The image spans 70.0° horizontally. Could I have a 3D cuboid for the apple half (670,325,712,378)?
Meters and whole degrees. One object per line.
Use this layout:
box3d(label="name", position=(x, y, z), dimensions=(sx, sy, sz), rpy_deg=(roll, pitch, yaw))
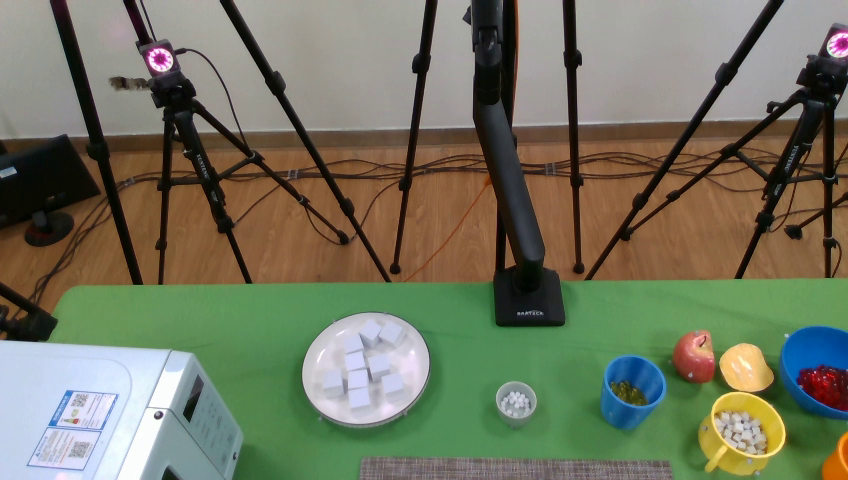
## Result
box3d(label="apple half", position=(0.416, 0.177, 0.956), dimensions=(0.053, 0.075, 0.080), rpy_deg=(1, 52, 10))

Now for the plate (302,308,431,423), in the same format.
box3d(label="plate", position=(-0.092, 0.204, 0.985), dimensions=(0.207, 0.039, 0.205), rpy_deg=(-2, 48, 2))

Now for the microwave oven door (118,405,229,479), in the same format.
box3d(label="microwave oven door", position=(-0.316, 0.396, 0.667), dimensions=(0.039, 0.246, 0.352), rpy_deg=(2, 49, 5))

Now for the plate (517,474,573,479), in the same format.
box3d(label="plate", position=(0.165, 0.412, 0.782), dimensions=(0.209, 0.038, 0.207), rpy_deg=(-2, 49, 2))

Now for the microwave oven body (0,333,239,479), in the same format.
box3d(label="microwave oven body", position=(-0.457, 0.363, 0.711), dimensions=(0.326, 0.262, 0.437), rpy_deg=(2, 50, 5))

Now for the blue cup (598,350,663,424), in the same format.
box3d(label="blue cup", position=(0.299, 0.226, 0.901), dimensions=(0.092, 0.101, 0.091), rpy_deg=(-1, 51, 2))

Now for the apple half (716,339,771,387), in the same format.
box3d(label="apple half", position=(0.499, 0.199, 0.958), dimensions=(0.081, 0.033, 0.080), rpy_deg=(-5, 62, 9))

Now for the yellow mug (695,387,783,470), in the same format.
box3d(label="yellow mug", position=(0.440, 0.279, 0.868), dimensions=(0.131, 0.064, 0.099), rpy_deg=(-34, 55, -22))

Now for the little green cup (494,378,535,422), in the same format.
box3d(label="little green cup", position=(0.139, 0.248, 0.933), dimensions=(0.061, 0.039, 0.061), rpy_deg=(-2, 48, 2))

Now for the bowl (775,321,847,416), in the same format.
box3d(label="bowl", position=(0.603, 0.206, 0.916), dimensions=(0.151, 0.077, 0.150), rpy_deg=(-2, 49, 3))

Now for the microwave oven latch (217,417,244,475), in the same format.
box3d(label="microwave oven latch", position=(-0.289, 0.300, 0.887), dimensions=(0.030, 0.030, 0.078), rpy_deg=(5, 50, 7))
